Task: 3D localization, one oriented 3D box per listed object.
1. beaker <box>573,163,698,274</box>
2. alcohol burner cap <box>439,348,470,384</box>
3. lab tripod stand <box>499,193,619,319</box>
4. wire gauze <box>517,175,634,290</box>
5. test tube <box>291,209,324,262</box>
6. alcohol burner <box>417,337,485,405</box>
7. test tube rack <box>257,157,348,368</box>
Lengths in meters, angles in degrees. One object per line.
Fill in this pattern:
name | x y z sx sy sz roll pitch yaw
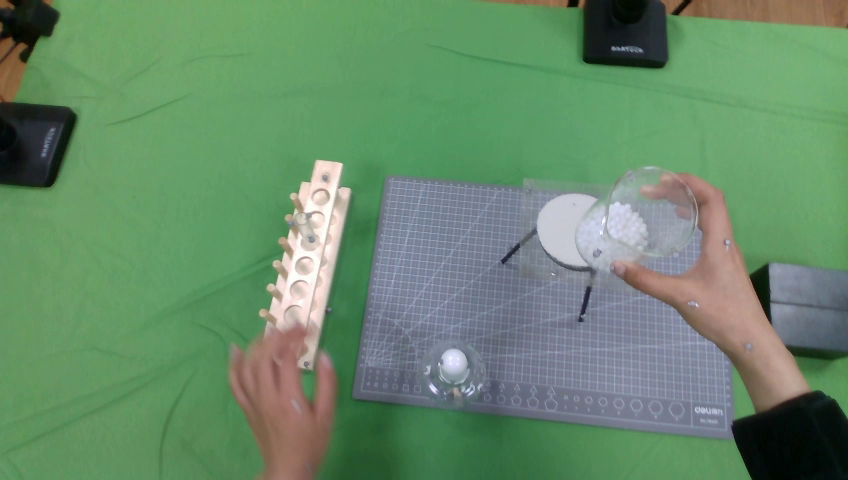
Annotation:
beaker | 0.174 -0.011 0.525 0.084 0.100 0.073 -27 80 -10
alcohol burner cap | 0.031 0.132 0.642 0.034 0.048 0.033 -2 64 5
lab tripod stand | 0.168 0.008 0.713 0.148 0.132 0.147 0 68 1
wire gauze | 0.163 -0.012 0.649 0.125 0.011 0.120 6 71 2
test tube | -0.131 -0.001 0.694 0.017 0.151 0.017 1 71 -1
alcohol burner | 0.031 0.143 0.676 0.078 0.120 0.077 1 70 -1
test tube rack | -0.152 0.025 0.737 0.067 0.086 0.241 8 70 3
